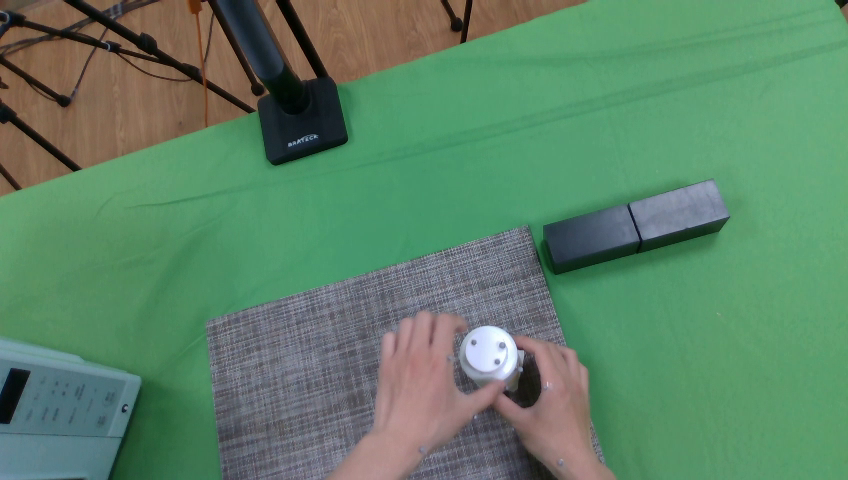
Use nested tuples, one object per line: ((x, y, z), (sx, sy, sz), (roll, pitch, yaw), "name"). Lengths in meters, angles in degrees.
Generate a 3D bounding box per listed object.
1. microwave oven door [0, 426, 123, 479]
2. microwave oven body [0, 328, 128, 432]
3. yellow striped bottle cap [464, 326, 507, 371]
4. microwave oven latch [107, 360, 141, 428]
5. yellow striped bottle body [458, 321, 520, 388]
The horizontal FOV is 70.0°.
((-0.463, 0.369, 0.622), (0.039, 0.246, 0.354), (10, 74, 15), "microwave oven door")
((-0.592, 0.307, 0.673), (0.325, 0.262, 0.439), (10, 75, 14), "microwave oven body")
((0.063, 0.112, 0.624), (0.044, 0.019, 0.044), (-4, 67, 9), "yellow striped bottle cap")
((-0.390, 0.197, 0.773), (0.030, 0.030, 0.079), (12, 76, 14), "microwave oven latch")
((0.073, 0.127, 0.674), (0.062, 0.121, 0.062), (-3, 71, 11), "yellow striped bottle body")
